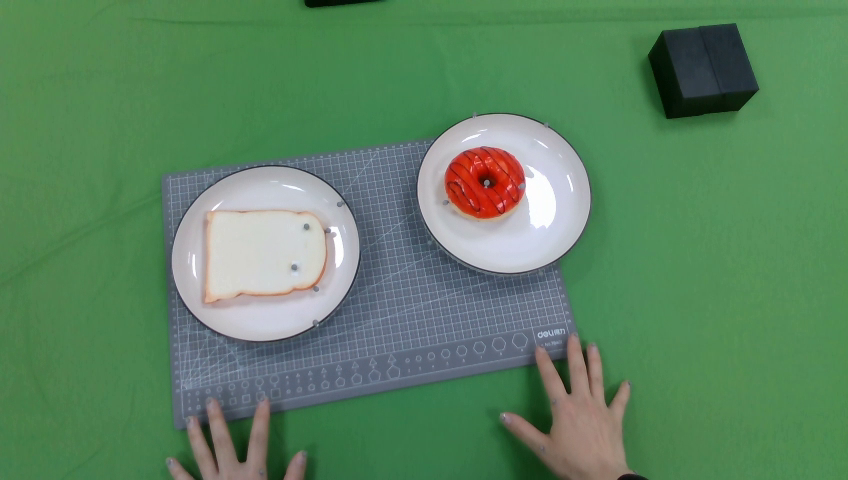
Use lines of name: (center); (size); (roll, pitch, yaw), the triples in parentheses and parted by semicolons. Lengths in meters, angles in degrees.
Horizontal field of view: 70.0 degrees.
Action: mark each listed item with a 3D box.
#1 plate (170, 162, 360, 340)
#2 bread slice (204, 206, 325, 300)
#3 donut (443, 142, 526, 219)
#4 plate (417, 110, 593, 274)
plate: (-0.176, 0.013, 0.687); (0.209, 0.038, 0.207); (1, 71, -3)
bread slice: (-0.181, 0.009, 0.689); (0.134, 0.018, 0.106); (-6, 73, -5)
donut: (0.072, -0.071, 0.715); (0.099, 0.048, 0.098); (0, 68, 0)
plate: (0.094, -0.056, 0.723); (0.208, 0.039, 0.206); (1, 71, -2)
